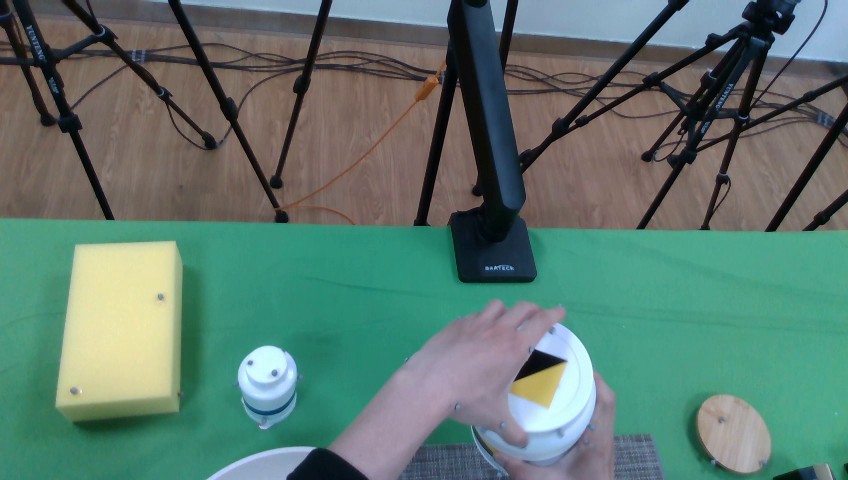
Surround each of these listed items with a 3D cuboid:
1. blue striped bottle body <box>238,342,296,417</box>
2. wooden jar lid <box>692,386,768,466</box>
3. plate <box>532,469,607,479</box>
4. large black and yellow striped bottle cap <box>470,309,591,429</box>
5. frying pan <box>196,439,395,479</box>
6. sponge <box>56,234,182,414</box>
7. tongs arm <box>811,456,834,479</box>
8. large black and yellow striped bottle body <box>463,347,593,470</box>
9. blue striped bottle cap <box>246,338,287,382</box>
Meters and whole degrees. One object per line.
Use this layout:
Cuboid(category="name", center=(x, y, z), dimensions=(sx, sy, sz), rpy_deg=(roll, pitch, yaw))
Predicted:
Cuboid(category="blue striped bottle body", center=(-0.180, 0.157, 0.701), dimensions=(0.063, 0.121, 0.062), rpy_deg=(6, 57, -9))
Cuboid(category="wooden jar lid", center=(0.420, 0.257, 0.837), dimensions=(0.108, 0.021, 0.107), rpy_deg=(6, 59, -9))
Cuboid(category="plate", center=(0.175, 0.374, 0.694), dimensions=(0.209, 0.038, 0.207), rpy_deg=(6, 58, -8))
Cuboid(category="large black and yellow striped bottle cap", center=(0.101, 0.121, 0.577), dimensions=(0.115, 0.019, 0.114), rpy_deg=(-3, 61, 5))
Cuboid(category="frying pan", center=(-0.122, 0.435, 0.549), dimensions=(0.308, 0.103, 0.482), rpy_deg=(-1, 51, -11))
Cuboid(category="sponge", center=(-0.361, 0.096, 0.734), dimensions=(0.118, 0.061, 0.205), rpy_deg=(-4, 60, -15))
Cuboid(category="tongs arm", center=(0.544, 0.448, 0.704), dimensions=(0.051, 0.026, 0.382), rpy_deg=(-3, 70, -16))
Cuboid(category="large black and yellow striped bottle body", center=(0.109, 0.164, 0.649), dimensions=(0.130, 0.185, 0.129), rpy_deg=(-3, 59, 6))
Cuboid(category="blue striped bottle cap", center=(-0.171, 0.130, 0.659), dimensions=(0.045, 0.021, 0.044), rpy_deg=(6, 59, -9))
